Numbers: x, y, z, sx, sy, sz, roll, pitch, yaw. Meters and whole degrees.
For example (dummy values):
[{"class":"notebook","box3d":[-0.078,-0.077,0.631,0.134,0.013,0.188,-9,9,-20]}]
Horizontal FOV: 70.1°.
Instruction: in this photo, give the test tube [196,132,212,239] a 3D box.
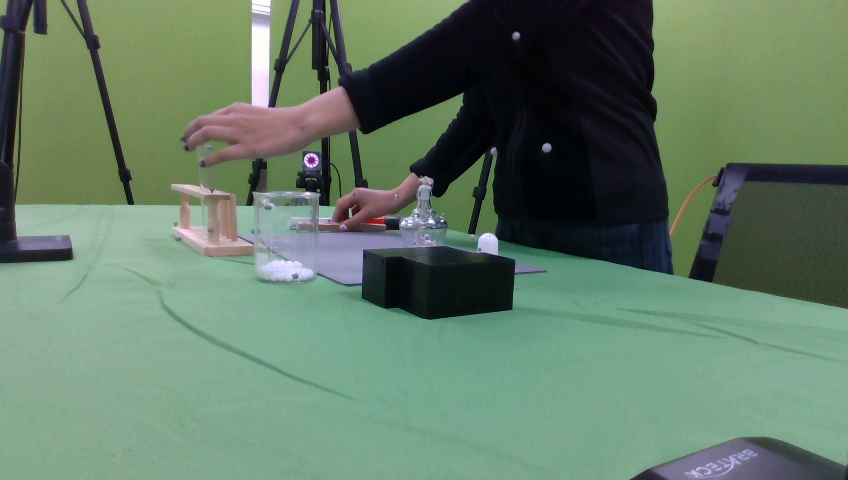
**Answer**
[{"class":"test tube","box3d":[-0.307,-0.075,0.850,0.017,0.150,0.017,-1,9,1]}]

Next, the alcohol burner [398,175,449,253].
[{"class":"alcohol burner","box3d":[-0.001,-0.041,0.937,0.078,0.119,0.078,0,7,0]}]

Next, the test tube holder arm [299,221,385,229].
[{"class":"test tube holder arm","box3d":[-0.155,-0.029,1.169,0.179,0.015,0.013,-2,29,-35]}]

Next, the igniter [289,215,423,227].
[{"class":"igniter","box3d":[-0.134,-0.038,1.231,0.278,0.025,0.057,-1,-4,-26]}]

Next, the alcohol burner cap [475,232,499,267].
[{"class":"alcohol burner cap","box3d":[0.087,0.012,0.830,0.034,0.048,0.034,3,6,0]}]

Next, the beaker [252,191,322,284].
[{"class":"beaker","box3d":[-0.159,-0.005,0.685,0.083,0.100,0.074,5,7,23]}]

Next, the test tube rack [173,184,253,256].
[{"class":"test tube rack","box3d":[-0.329,-0.036,0.927,0.067,0.085,0.241,-2,9,-32]}]

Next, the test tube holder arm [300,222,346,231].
[{"class":"test tube holder arm","box3d":[-0.189,-0.025,1.139,0.088,0.015,0.010,-1,29,-34]}]
